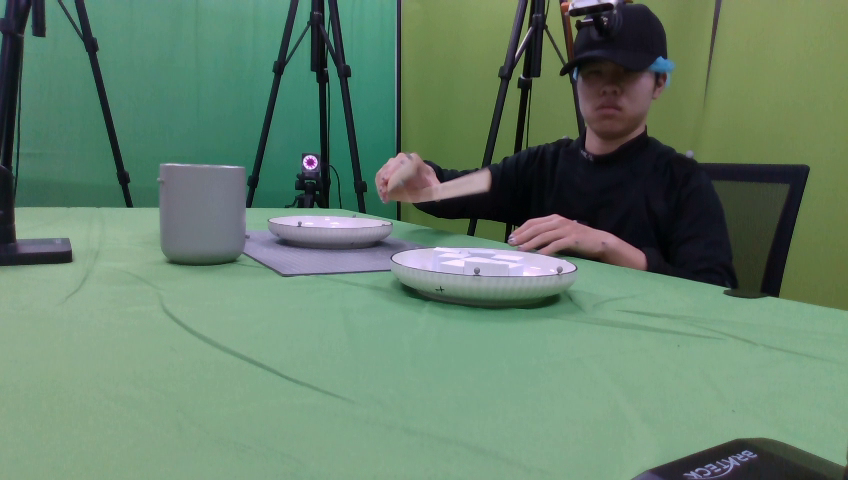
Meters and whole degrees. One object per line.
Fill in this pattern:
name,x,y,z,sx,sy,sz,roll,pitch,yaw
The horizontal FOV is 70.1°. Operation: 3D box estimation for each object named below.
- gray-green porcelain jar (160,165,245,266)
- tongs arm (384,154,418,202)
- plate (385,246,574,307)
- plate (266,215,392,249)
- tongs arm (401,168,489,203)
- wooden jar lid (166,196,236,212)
gray-green porcelain jar,-0.291,-0.034,0.799,0.106,0.126,0.106,2,8,0
tongs arm,-0.027,-0.084,0.887,0.051,0.026,0.384,8,-2,-11
plate,0.060,0.041,0.678,0.208,0.039,0.207,3,7,0
plate,-0.159,-0.015,1.019,0.209,0.038,0.209,3,7,0
tongs arm,0.022,-0.075,0.897,0.028,0.027,0.386,5,0,-15
wooden jar lid,-0.369,-0.059,1.001,0.108,0.020,0.108,3,6,0
